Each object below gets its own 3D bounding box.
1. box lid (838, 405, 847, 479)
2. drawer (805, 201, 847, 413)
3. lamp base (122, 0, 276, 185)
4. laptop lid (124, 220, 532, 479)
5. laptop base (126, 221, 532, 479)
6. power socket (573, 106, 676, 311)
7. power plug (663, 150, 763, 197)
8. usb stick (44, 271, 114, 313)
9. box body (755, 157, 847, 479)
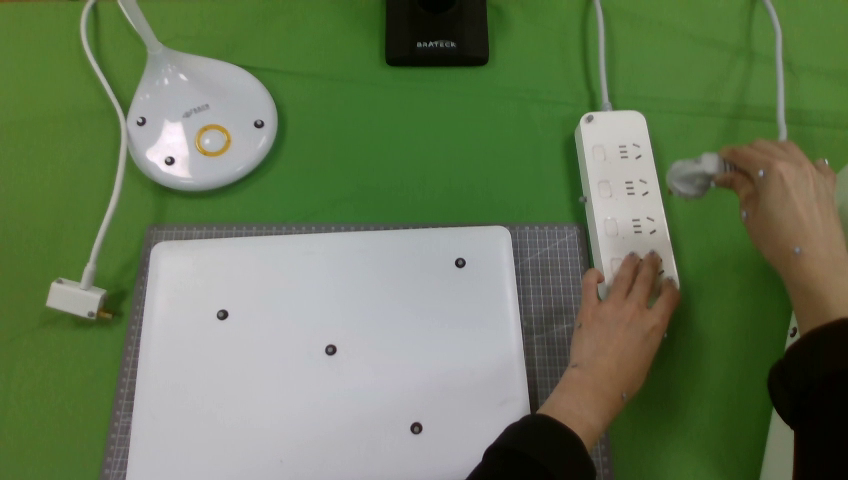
[{"bbox_3d":[0.453,0.062,0.427,0.262,0.015,0.370,22,70,8],"label":"box lid"},{"bbox_3d":[0.466,0.075,0.532,0.194,0.073,0.211,20,73,7],"label":"drawer"},{"bbox_3d":[-0.251,-0.170,0.591,0.160,0.181,0.178,-37,69,-15],"label":"lamp base"},{"bbox_3d":[-0.087,0.097,0.556,0.357,0.013,0.240,-1,70,-1],"label":"laptop lid"},{"bbox_3d":[-0.086,0.099,0.568,0.354,0.023,0.234,-3,71,-1],"label":"laptop base"},{"bbox_3d":[0.201,-0.040,0.619,0.072,0.033,0.225,-1,67,-2],"label":"power socket"},{"bbox_3d":[0.244,-0.052,0.524,0.072,0.053,0.035,15,66,6],"label":"power plug"},{"bbox_3d":[-0.324,0.052,0.576,0.059,0.021,0.027,23,96,-16],"label":"usb stick"},{"bbox_3d":[0.453,0.092,0.495,0.253,0.161,0.362,22,69,8],"label":"box body"}]
